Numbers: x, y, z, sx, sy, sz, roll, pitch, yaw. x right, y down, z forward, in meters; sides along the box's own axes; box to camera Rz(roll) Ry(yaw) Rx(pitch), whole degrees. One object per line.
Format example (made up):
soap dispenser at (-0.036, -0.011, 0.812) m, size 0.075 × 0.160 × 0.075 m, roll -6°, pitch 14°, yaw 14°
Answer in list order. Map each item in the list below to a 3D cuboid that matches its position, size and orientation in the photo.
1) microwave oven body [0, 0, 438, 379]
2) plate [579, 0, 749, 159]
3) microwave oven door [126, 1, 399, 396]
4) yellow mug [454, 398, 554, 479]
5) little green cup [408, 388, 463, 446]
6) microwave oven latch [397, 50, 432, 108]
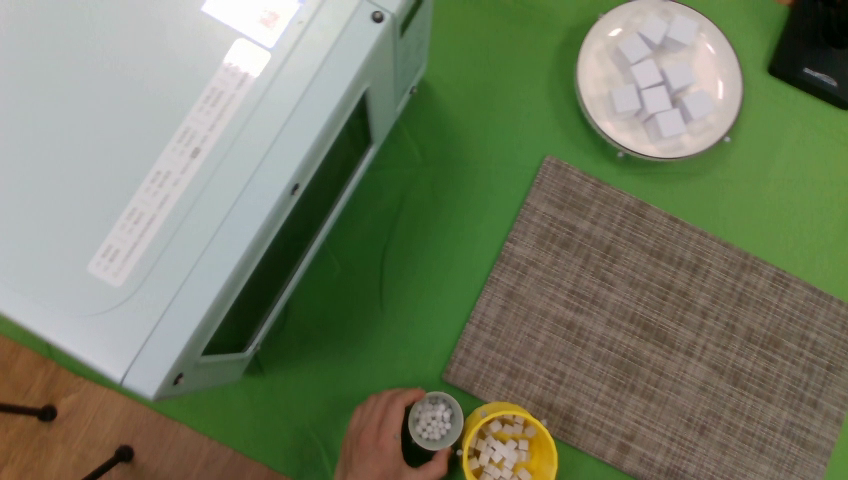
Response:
microwave oven body at (-0.232, -0.133, 0.595) m, size 0.326 × 0.260 × 0.441 m, roll 30°, pitch 82°, yaw 1°
plate at (0.292, -0.198, 0.750) m, size 0.208 × 0.039 × 0.207 m, roll 1°, pitch 82°, yaw -3°
microwave oven door at (-0.127, -0.024, 0.580) m, size 0.039 × 0.244 × 0.355 m, roll 30°, pitch 81°, yaw 2°
yellow mug at (0.076, 0.239, 0.660) m, size 0.100 × 0.064 × 0.130 m, roll 39°, pitch 84°, yaw 1°
little green cup at (0.012, 0.194, 0.675) m, size 0.061 × 0.038 × 0.061 m, roll 0°, pitch 87°, yaw -3°
microwave oven latch at (-0.020, -0.195, 0.713) m, size 0.030 × 0.029 × 0.079 m, roll 33°, pitch 82°, yaw 2°
